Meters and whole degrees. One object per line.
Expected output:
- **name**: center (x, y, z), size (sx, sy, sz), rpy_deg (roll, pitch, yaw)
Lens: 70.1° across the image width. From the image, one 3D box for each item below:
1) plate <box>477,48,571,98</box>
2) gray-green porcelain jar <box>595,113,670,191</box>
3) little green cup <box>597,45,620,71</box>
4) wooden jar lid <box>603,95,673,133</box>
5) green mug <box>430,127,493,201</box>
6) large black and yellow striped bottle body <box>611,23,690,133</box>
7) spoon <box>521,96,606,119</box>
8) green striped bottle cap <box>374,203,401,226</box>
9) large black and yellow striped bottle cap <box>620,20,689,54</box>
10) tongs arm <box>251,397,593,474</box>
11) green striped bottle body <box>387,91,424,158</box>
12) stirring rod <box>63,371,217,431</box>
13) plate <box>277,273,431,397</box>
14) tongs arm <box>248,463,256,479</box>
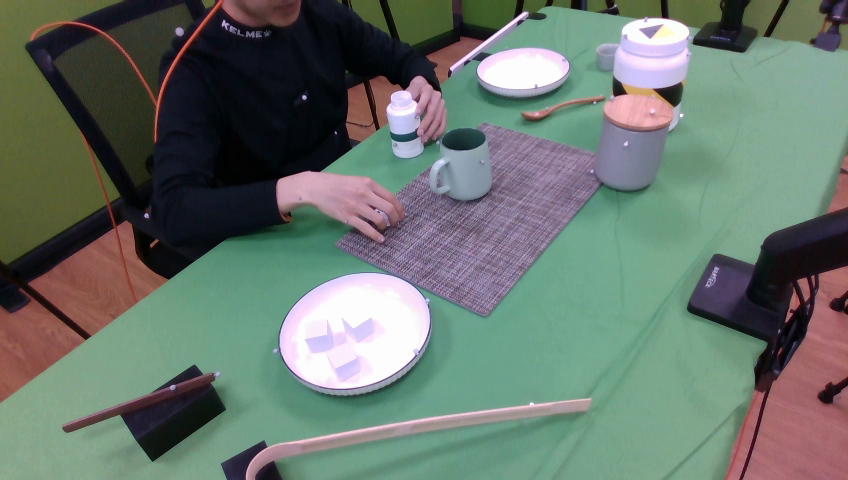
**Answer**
- **plate**: center (0.223, -0.371, 1.357), size (0.209, 0.038, 0.208), rpy_deg (-4, 41, 4)
- **gray-green porcelain jar**: center (0.346, -0.155, 1.017), size (0.106, 0.127, 0.105), rpy_deg (-2, 44, 2)
- **little green cup**: center (0.423, -0.413, 1.376), size (0.061, 0.039, 0.061), rpy_deg (-4, 41, 4)
- **wooden jar lid**: center (0.343, -0.200, 0.974), size (0.108, 0.021, 0.108), rpy_deg (-2, 39, 2)
- **green mug**: center (0.060, -0.122, 1.034), size (0.126, 0.105, 0.091), rpy_deg (-35, 48, -28)
- **large black and yellow striped bottle body**: center (0.420, -0.299, 1.132), size (0.131, 0.185, 0.130), rpy_deg (-5, 41, 4)
- **spoon**: center (0.291, -0.277, 1.249), size (0.194, 0.022, 0.041), rpy_deg (-18, 23, -11)
- **green striped bottle cap**: center (-0.062, -0.043, 1.029), size (0.044, 0.020, 0.044), rpy_deg (-6, 39, 5)
- **large black and yellow striped bottle cap**: center (0.411, -0.363, 1.080), size (0.115, 0.019, 0.114), rpy_deg (-4, 42, 4)
- **tongs arm**: center (0.008, 0.212, 0.675), size (0.389, 0.028, 0.028), rpy_deg (-5, 46, -11)
- **green striped bottle body**: center (-0.036, -0.223, 1.160), size (0.063, 0.120, 0.063), rpy_deg (-5, 40, 4)
- **stirring rod**: center (-0.337, 0.192, 0.723), size (0.177, 0.014, 0.005), rpy_deg (-18, 42, -12)
- **plate**: center (-0.091, 0.129, 0.821), size (0.207, 0.039, 0.206), rpy_deg (-4, 40, 4)
- **tongs arm**: center (0.012, 0.262, 0.615), size (0.385, 0.026, 0.050), rpy_deg (2, 42, -2)
